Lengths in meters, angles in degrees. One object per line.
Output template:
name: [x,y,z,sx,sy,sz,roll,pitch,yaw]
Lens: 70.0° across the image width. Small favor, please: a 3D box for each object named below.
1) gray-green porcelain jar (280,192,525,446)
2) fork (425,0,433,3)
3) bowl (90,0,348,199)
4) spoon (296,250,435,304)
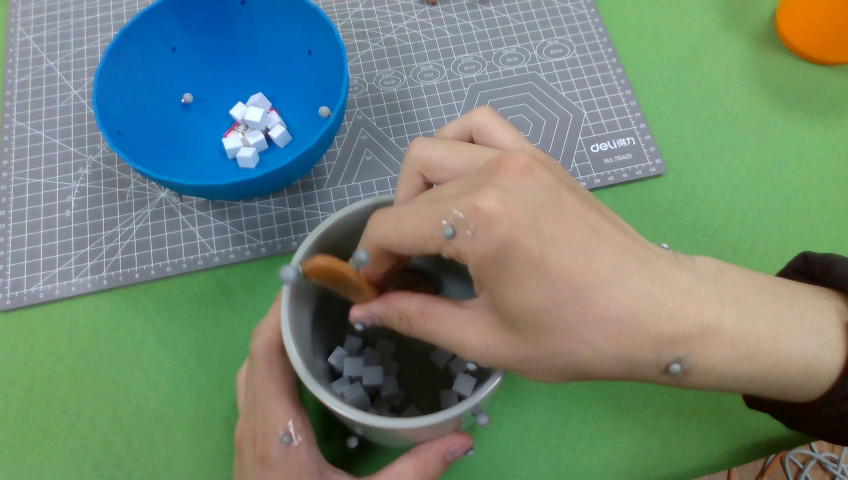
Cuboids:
gray-green porcelain jar: [-0.008,0.050,0.314,0.106,0.127,0.105,0,67,0]
fork: [-0.022,-0.287,0.475,0.028,0.018,0.207,-15,87,-12]
bowl: [-0.120,-0.084,0.391,0.151,0.077,0.150,0,67,0]
spoon: [-0.022,0.021,0.281,0.041,0.194,0.021,-6,85,5]
